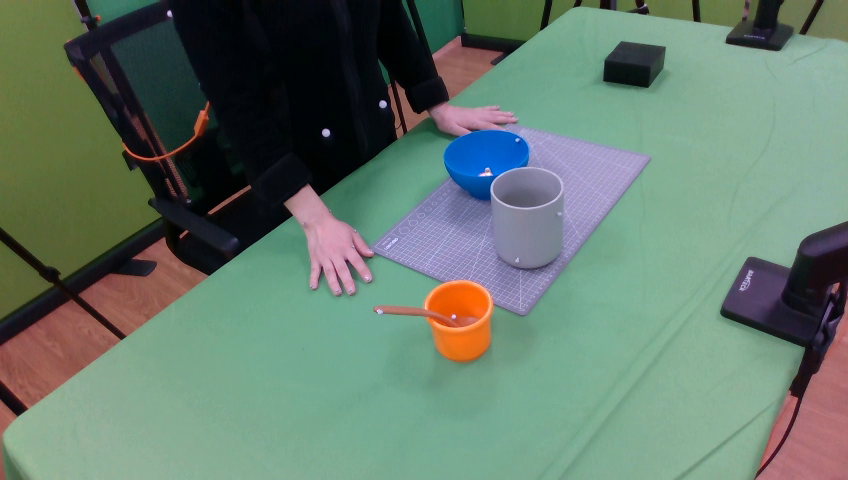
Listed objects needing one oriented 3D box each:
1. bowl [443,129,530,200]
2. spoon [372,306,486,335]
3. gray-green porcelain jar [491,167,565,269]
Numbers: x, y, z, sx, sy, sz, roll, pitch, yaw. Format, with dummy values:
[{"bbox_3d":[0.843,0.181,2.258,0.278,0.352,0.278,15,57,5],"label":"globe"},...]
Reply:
[{"bbox_3d":[0.113,-0.123,1.063,0.151,0.077,0.150,-6,40,5],"label":"bowl"},{"bbox_3d":[0.010,0.098,0.770,0.041,0.195,0.021,44,107,45],"label":"spoon"},{"bbox_3d":[0.157,-0.029,0.904,0.106,0.127,0.105,-6,40,5],"label":"gray-green porcelain jar"}]
